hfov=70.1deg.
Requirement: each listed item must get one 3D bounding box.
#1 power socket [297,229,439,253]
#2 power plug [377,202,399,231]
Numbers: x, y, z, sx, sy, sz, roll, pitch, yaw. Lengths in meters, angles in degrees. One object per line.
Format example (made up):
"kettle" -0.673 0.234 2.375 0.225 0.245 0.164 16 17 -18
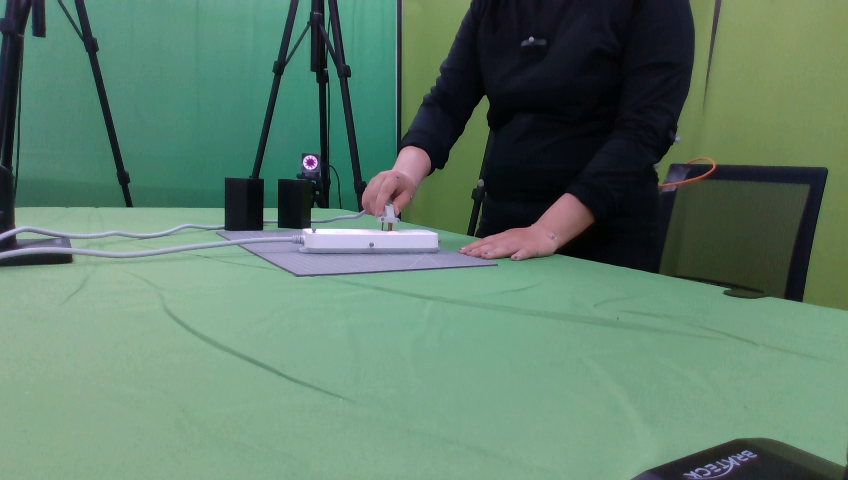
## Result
"power socket" -0.084 0.001 0.941 0.228 0.032 0.072 0 6 -20
"power plug" -0.058 -0.035 0.978 0.035 0.052 0.072 3 4 -3
